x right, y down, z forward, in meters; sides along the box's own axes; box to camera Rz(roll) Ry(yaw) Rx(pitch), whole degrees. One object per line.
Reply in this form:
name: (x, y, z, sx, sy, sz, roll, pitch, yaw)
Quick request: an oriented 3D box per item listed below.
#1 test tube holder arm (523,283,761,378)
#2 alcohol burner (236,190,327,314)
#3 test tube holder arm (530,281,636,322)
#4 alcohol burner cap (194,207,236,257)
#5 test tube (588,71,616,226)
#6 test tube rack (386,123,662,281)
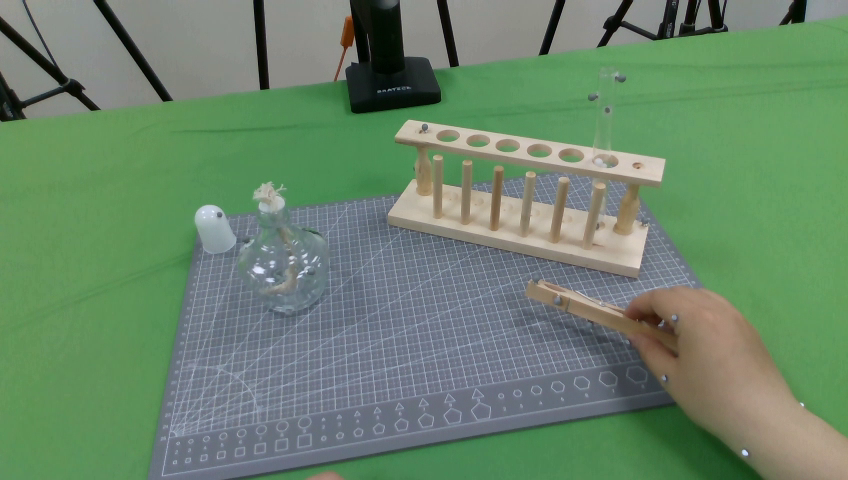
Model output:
test tube holder arm: (0.163, 0.069, 0.468, 0.177, 0.015, 0.013, 19, 24, 20)
alcohol burner: (-0.121, 0.006, 0.507, 0.078, 0.120, 0.077, -1, 42, 1)
test tube holder arm: (0.126, 0.053, 0.488, 0.087, 0.015, 0.010, 19, 24, 20)
alcohol burner cap: (-0.204, -0.011, 0.587, 0.034, 0.048, 0.033, -1, 42, 1)
test tube: (0.152, -0.073, 0.523, 0.017, 0.151, 0.017, -5, 39, 5)
test tube rack: (0.084, -0.040, 0.565, 0.241, 0.086, 0.066, 13, 44, 18)
